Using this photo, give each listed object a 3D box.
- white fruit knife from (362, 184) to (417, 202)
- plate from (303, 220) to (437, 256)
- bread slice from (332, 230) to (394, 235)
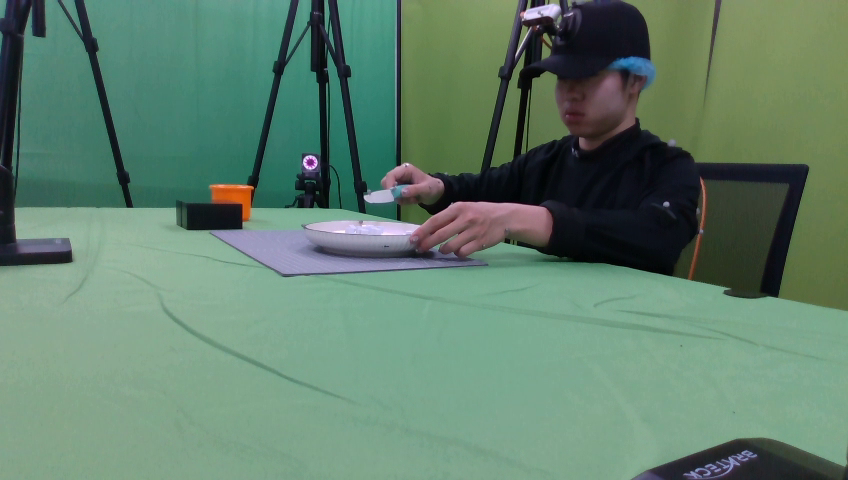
[{"bbox_3d":[-0.058,-0.083,1.066,0.016,0.027,0.208,-6,6,23],"label":"white fruit knife"},{"bbox_3d":[-0.084,-0.003,0.951,0.209,0.038,0.209,3,7,0],"label":"plate"},{"bbox_3d":[-0.088,-0.001,0.947,0.105,0.019,0.131,-5,10,-45],"label":"bread slice"}]
